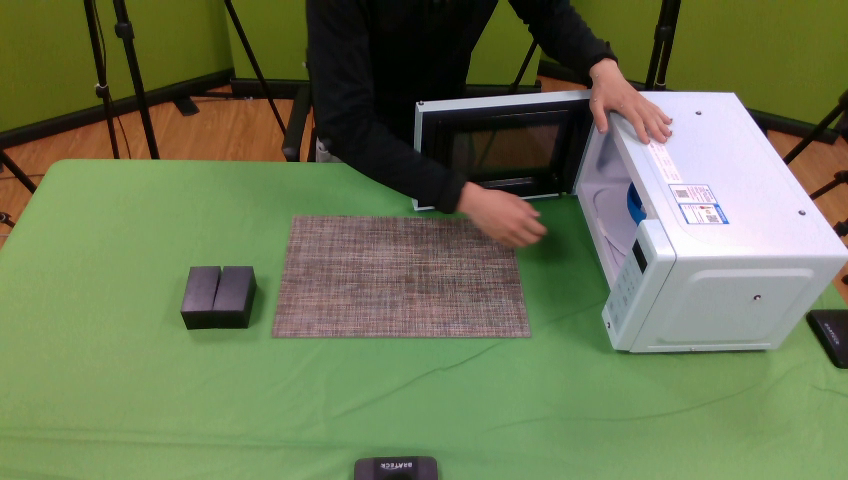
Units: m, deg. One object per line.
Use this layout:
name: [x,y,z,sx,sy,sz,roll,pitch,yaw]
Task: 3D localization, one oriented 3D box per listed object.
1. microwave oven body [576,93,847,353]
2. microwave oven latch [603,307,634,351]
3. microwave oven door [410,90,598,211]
microwave oven body: [0.475,-0.041,1.109,0.326,0.261,0.438,-1,45,-4]
microwave oven latch: [0.332,0.153,1.044,0.030,0.029,0.078,0,45,-3]
microwave oven door: [0.153,-0.176,1.209,0.356,0.245,0.039,-7,46,-11]
